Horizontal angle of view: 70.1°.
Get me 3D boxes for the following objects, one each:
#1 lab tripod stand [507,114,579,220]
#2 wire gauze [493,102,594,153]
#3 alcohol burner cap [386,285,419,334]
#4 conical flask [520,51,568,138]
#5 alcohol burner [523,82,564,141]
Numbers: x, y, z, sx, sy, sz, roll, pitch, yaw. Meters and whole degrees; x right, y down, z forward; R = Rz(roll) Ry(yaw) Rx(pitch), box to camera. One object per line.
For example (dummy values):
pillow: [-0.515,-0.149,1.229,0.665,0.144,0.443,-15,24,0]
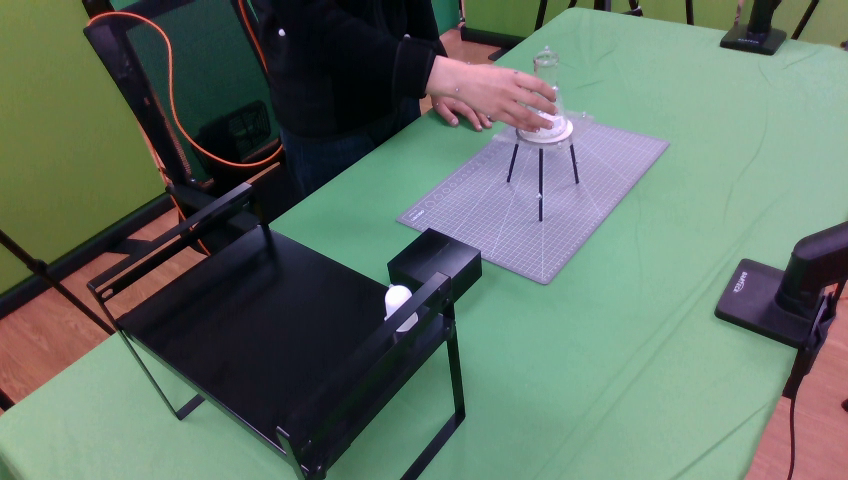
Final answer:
lab tripod stand: [0.199,-0.128,1.005,0.148,0.132,0.147,-3,42,3]
wire gauze: [0.191,-0.179,0.965,0.120,0.011,0.125,18,49,29]
alcohol burner cap: [-0.024,0.067,0.604,0.034,0.048,0.033,-4,39,4]
conical flask: [0.185,-0.223,0.925,0.075,0.122,0.075,-4,41,4]
alcohol burner: [0.229,-0.251,1.161,0.078,0.119,0.077,-4,43,5]
